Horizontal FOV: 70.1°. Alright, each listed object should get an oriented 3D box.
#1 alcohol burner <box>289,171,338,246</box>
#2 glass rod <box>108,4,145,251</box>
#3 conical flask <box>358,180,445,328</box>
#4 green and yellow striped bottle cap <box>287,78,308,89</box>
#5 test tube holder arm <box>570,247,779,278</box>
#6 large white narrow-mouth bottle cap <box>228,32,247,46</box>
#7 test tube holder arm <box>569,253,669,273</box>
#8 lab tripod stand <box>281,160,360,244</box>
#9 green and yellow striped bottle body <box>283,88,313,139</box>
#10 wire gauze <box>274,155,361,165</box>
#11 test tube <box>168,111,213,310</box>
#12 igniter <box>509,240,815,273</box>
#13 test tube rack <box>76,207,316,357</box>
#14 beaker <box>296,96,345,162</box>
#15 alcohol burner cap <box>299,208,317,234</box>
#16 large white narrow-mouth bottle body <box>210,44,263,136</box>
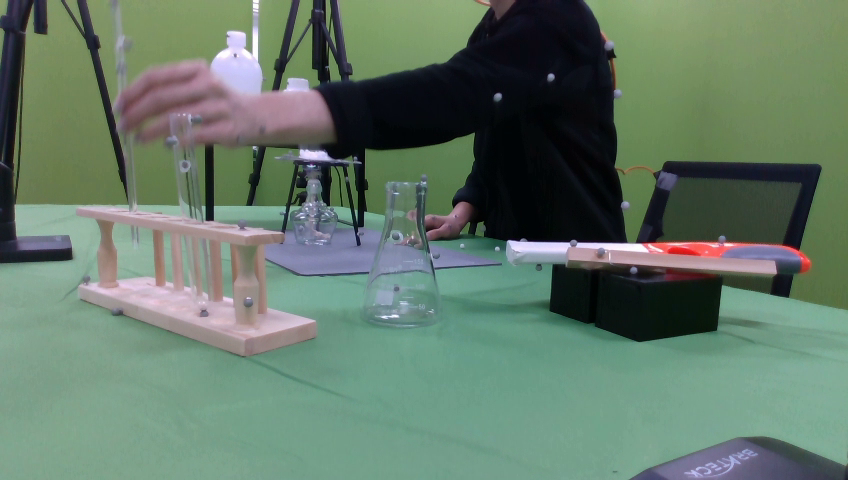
[{"bbox_3d":[-0.177,-0.051,0.968,0.078,0.119,0.078,1,6,0],"label":"alcohol burner"},{"bbox_3d":[-0.241,-0.086,0.494,0.008,0.199,0.008,1,17,0],"label":"glass rod"},{"bbox_3d":[-0.017,0.010,0.522,0.075,0.122,0.075,2,7,0],"label":"conical flask"},{"bbox_3d":[-0.265,-0.326,1.268,0.045,0.020,0.045,4,6,0],"label":"green and yellow striped bottle cap"},{"bbox_3d":[0.217,0.020,0.525,0.178,0.015,0.013,3,-24,3],"label":"test tube holder arm"},{"bbox_3d":[-0.364,-0.390,1.180,0.038,0.024,0.037,4,8,0],"label":"large white narrow-mouth bottle cap"},{"bbox_3d":[0.172,0.019,0.532,0.088,0.015,0.010,3,-24,3],"label":"test tube holder arm"},{"bbox_3d":[-0.170,-0.063,0.983,0.148,0.131,0.148,1,6,0],"label":"lab tripod stand"},{"bbox_3d":[-0.266,-0.275,1.275,0.063,0.119,0.063,2,7,0],"label":"green and yellow striped bottle body"},{"bbox_3d":[-0.174,-0.129,0.978,0.125,0.011,0.121,-2,6,-19],"label":"wire gauze"},{"bbox_3d":[-0.175,-0.020,0.455,0.017,0.150,0.017,-3,9,1],"label":"test tube"},{"bbox_3d":[0.220,0.015,0.566,0.277,0.025,0.057,2,16,0],"label":"igniter"},{"bbox_3d":[-0.196,0.023,0.499,0.241,0.085,0.067,8,9,36],"label":"test tube rack"},{"bbox_3d":[-0.163,-0.175,0.966,0.083,0.100,0.074,7,8,34],"label":"beaker"},{"bbox_3d":[-0.213,-0.035,1.110,0.034,0.048,0.034,2,7,0],"label":"alcohol burner cap"},{"bbox_3d":[-0.369,-0.305,1.193,0.102,0.194,0.102,4,8,0],"label":"large white narrow-mouth bottle body"}]
